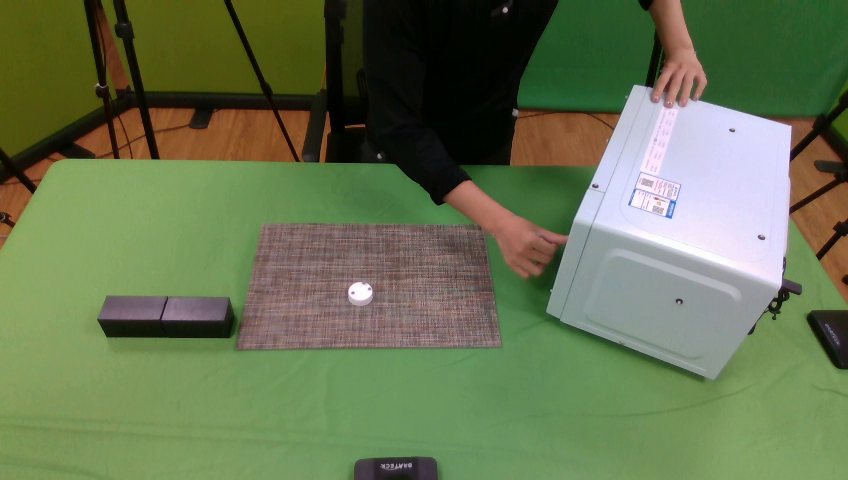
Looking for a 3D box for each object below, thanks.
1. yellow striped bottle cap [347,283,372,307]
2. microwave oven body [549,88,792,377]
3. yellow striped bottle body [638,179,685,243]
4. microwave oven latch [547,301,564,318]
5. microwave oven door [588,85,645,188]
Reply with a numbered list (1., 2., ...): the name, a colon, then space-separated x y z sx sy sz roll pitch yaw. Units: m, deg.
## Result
1. yellow striped bottle cap: -0.117 0.098 1.093 0.044 0.019 0.044 3 45 -3
2. microwave oven body: 0.456 -0.028 1.088 0.325 0.261 0.440 20 47 16
3. yellow striped bottle body: 0.442 -0.057 1.123 0.063 0.121 0.062 -1 47 2
4. microwave oven latch: 0.242 0.102 1.081 0.030 0.029 0.079 21 48 17
5. microwave oven door: 0.342 -0.107 1.149 0.039 0.245 0.354 20 48 15
